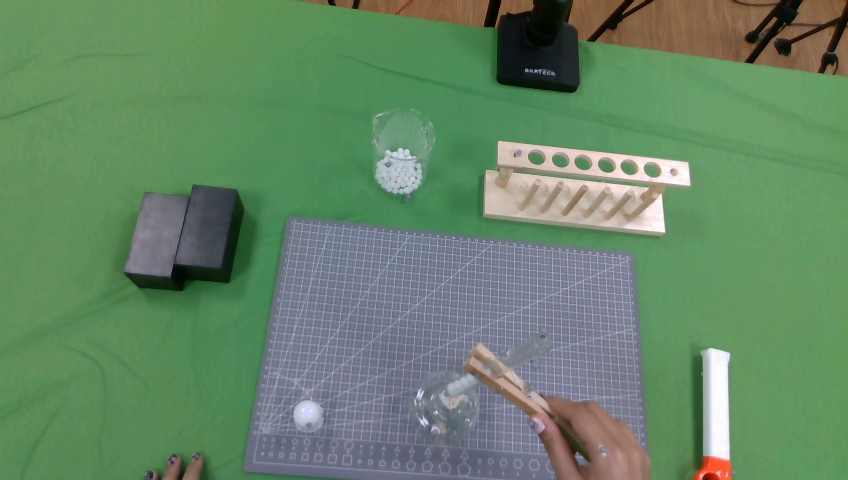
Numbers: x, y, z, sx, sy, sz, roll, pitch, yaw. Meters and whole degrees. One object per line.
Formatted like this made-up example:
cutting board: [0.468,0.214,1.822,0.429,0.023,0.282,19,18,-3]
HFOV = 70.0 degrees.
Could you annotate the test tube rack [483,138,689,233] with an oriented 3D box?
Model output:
test tube rack: [0.203,-0.067,0.776,0.243,0.085,0.066,6,67,-5]

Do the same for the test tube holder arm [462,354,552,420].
test tube holder arm: [0.070,0.124,0.505,0.088,0.015,0.010,34,58,-8]

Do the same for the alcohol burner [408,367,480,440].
alcohol burner: [0.024,0.169,0.640,0.078,0.120,0.077,3,66,-7]

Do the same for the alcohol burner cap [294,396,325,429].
alcohol burner cap: [-0.124,0.184,0.653,0.034,0.048,0.033,3,68,-6]

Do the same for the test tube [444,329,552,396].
test tube: [0.056,0.105,0.502,0.017,0.150,0.017,13,58,-22]

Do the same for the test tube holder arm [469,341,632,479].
test tube holder arm: [0.108,0.148,0.513,0.179,0.015,0.013,40,58,-5]

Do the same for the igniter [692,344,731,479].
igniter: [0.333,0.256,0.694,0.057,0.025,0.274,16,67,-11]

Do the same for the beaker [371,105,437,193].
beaker: [-0.031,-0.110,0.756,0.084,0.101,0.074,32,67,7]
